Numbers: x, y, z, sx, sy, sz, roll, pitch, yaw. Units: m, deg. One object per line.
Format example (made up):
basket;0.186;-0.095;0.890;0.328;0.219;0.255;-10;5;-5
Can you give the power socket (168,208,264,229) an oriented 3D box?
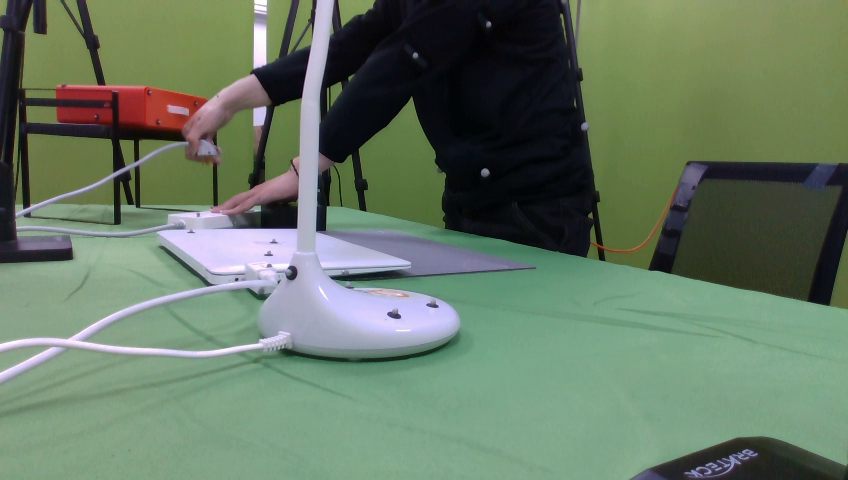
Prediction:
power socket;-0.381;-0.038;1.128;0.072;0.032;0.227;4;8;16

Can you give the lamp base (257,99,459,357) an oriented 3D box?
lamp base;-0.055;-0.014;0.463;0.160;0.180;0.180;6;11;27

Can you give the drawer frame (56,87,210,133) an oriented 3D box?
drawer frame;-0.598;-0.269;1.261;0.213;0.082;0.202;4;8;14

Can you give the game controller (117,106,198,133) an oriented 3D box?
game controller;-0.555;-0.251;1.255;0.097;0.051;0.155;8;12;18

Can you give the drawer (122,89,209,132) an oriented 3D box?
drawer;-0.595;-0.268;1.263;0.211;0.073;0.195;4;8;15

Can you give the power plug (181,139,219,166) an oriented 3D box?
power plug;-0.433;-0.170;1.179;0.072;0.052;0.035;-1;4;27

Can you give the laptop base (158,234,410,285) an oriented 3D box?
laptop base;-0.204;0.019;0.807;0.237;0.023;0.352;0;7;-33

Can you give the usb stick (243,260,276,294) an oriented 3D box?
usb stick;-0.166;0.035;0.603;0.021;0.027;0.059;-8;8;-29

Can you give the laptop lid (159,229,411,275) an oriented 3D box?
laptop lid;-0.201;0.007;0.806;0.243;0.013;0.355;-1;8;-31
